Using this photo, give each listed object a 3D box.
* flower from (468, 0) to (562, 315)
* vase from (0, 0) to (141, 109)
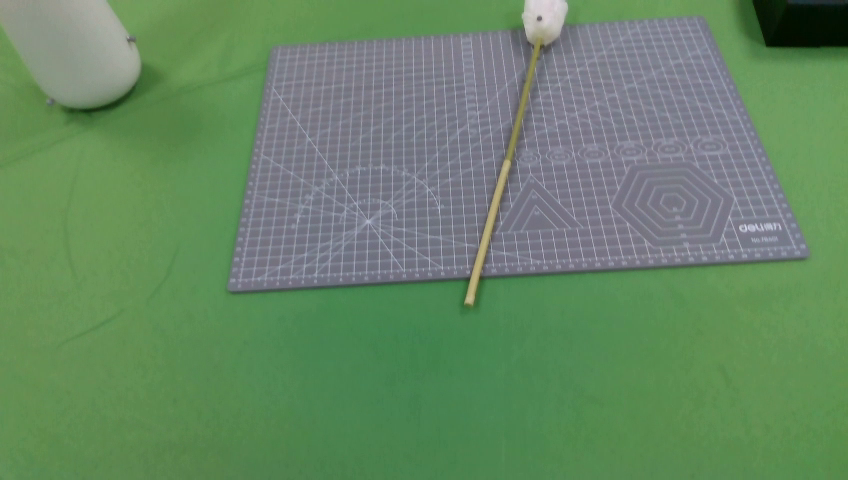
[{"bbox_3d":[0.080,-0.097,0.542,0.044,0.038,0.359,27,61,-22],"label":"flower"},{"bbox_3d":[-0.339,-0.217,0.545,0.098,0.202,0.097,-2,54,3],"label":"vase"}]
